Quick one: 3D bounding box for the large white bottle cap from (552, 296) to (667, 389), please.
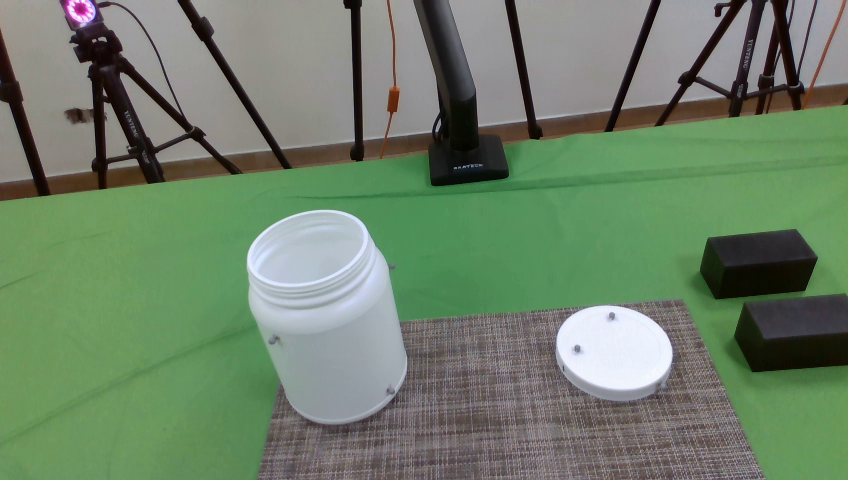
[{"bbox_3d":[0.192,0.104,0.630,0.115,0.018,0.113,-4,40,4],"label":"large white bottle cap"}]

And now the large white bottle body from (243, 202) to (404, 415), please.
[{"bbox_3d":[-0.095,0.067,0.591,0.130,0.186,0.129,-5,40,4],"label":"large white bottle body"}]
